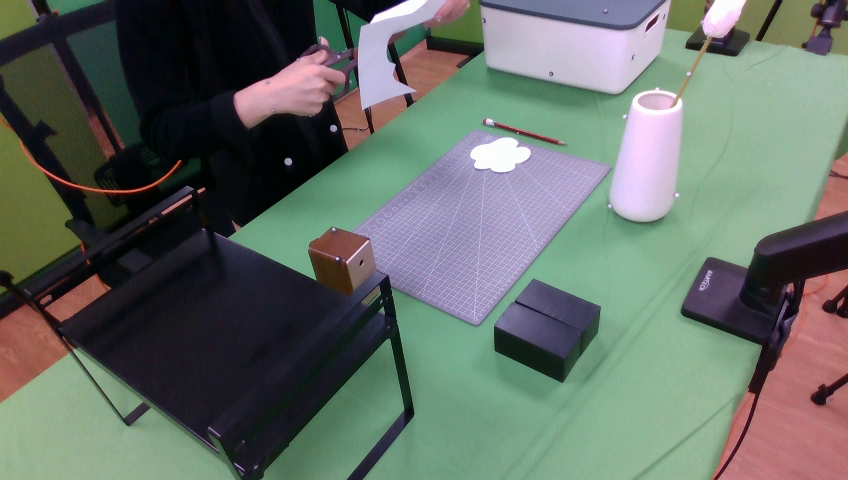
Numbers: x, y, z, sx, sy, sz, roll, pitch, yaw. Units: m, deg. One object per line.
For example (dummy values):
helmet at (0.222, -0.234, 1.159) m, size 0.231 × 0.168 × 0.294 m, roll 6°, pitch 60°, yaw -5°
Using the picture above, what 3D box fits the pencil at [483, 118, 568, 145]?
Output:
pencil at (0.202, -0.217, 1.212) m, size 0.192 × 0.012 × 0.012 m, roll 24°, pitch 49°, yaw 29°

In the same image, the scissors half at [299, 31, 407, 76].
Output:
scissors half at (-0.109, -0.286, 0.910) m, size 0.175 × 0.040 × 0.013 m, roll -13°, pitch 29°, yaw 10°

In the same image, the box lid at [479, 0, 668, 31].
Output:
box lid at (0.335, -0.536, 1.331) m, size 0.368 × 0.015 × 0.264 m, roll 23°, pitch 49°, yaw 30°

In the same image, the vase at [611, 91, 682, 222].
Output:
vase at (0.348, -0.125, 0.935) m, size 0.098 × 0.201 × 0.097 m, roll -3°, pitch 40°, yaw 3°

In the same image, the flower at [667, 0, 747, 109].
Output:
flower at (0.354, -0.187, 0.879) m, size 0.038 × 0.362 × 0.044 m, roll 30°, pitch 48°, yaw 14°

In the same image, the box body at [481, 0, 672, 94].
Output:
box body at (0.341, -0.480, 1.381) m, size 0.361 × 0.161 × 0.255 m, roll 22°, pitch 48°, yaw 30°

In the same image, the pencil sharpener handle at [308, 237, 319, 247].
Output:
pencil sharpener handle at (-0.159, 0.017, 0.892) m, size 0.030 × 0.068 × 0.036 m, roll 18°, pitch 61°, yaw 28°

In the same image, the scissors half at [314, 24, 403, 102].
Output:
scissors half at (-0.098, -0.269, 0.919) m, size 0.175 × 0.040 × 0.013 m, roll -37°, pitch 17°, yaw 21°

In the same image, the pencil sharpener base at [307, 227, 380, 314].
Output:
pencil sharpener base at (-0.116, 0.043, 0.875) m, size 0.076 × 0.107 × 0.061 m, roll 18°, pitch 47°, yaw 27°
